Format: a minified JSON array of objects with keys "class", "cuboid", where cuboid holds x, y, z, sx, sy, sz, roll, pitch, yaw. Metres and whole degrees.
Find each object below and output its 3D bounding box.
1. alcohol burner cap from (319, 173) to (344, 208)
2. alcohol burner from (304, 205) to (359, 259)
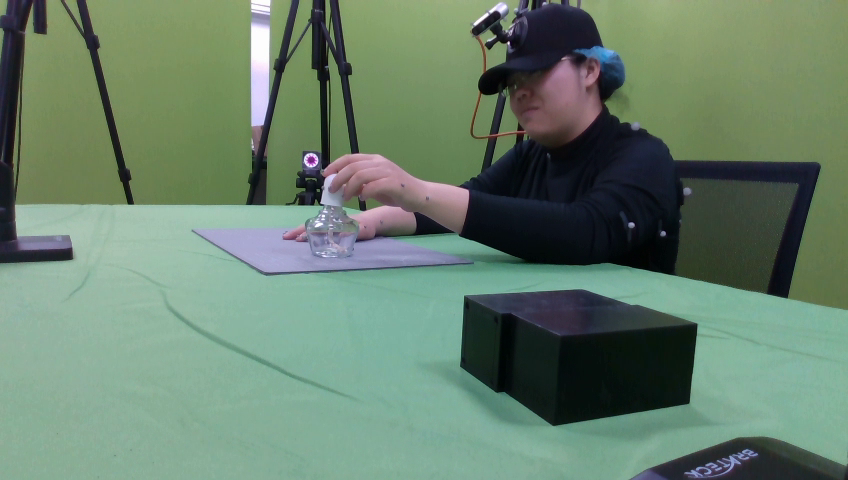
[{"class":"alcohol burner cap","cuboid":[-0.128,-0.070,0.848,0.034,0.048,0.034,8,5,0]},{"class":"alcohol burner","cuboid":[-0.130,-0.034,0.852,0.078,0.119,0.078,2,5,0]}]
